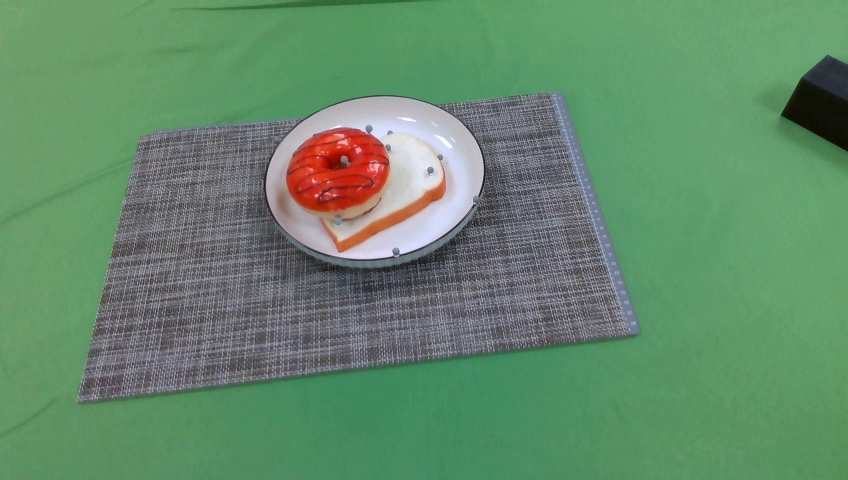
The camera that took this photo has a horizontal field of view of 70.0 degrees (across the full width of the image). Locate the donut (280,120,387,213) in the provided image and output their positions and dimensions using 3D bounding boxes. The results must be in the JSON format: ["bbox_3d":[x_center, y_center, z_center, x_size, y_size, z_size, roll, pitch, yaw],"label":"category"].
[{"bbox_3d":[-0.082,-0.068,0.551,0.099,0.049,0.098,-3,57,5],"label":"donut"}]

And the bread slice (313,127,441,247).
[{"bbox_3d":[-0.052,-0.061,0.582,0.131,0.019,0.104,-29,59,-15],"label":"bread slice"}]

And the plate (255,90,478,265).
[{"bbox_3d":[-0.053,-0.059,0.578,0.207,0.039,0.205,-1,55,2],"label":"plate"}]
